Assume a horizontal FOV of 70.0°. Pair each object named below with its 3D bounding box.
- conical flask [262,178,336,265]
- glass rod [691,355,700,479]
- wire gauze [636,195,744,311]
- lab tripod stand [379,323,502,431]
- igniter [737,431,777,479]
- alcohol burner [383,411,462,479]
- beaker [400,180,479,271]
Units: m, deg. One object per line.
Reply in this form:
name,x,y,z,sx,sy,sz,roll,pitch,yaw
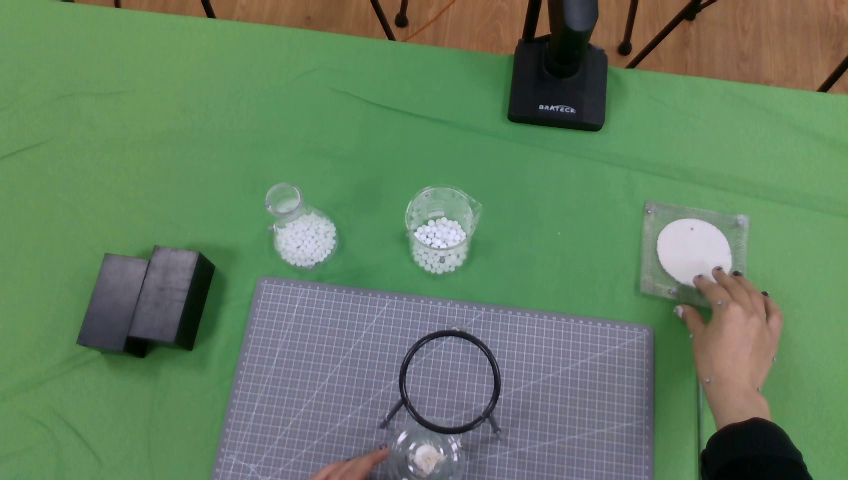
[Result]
conical flask,-0.141,-0.025,0.656,0.075,0.122,0.075,0,70,0
glass rod,0.285,0.219,0.634,0.008,0.008,0.198,7,71,2
wire gauze,0.311,0.011,0.706,0.125,0.011,0.121,12,72,2
lab tripod stand,0.019,0.142,0.590,0.148,0.132,0.147,0,72,1
igniter,0.341,0.329,0.586,0.057,0.025,0.274,4,71,-10
alcohol burner,-0.001,0.202,0.580,0.078,0.120,0.077,1,69,-1
beaker,0.017,-0.012,0.665,0.084,0.101,0.073,-18,72,-7
